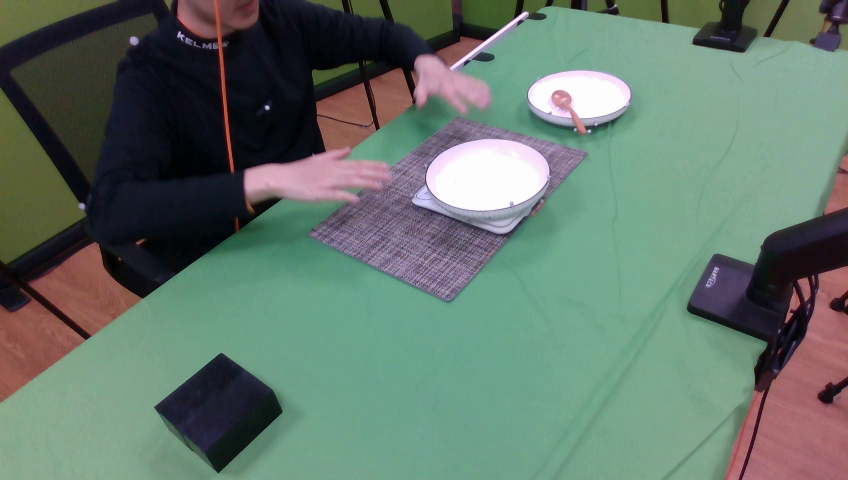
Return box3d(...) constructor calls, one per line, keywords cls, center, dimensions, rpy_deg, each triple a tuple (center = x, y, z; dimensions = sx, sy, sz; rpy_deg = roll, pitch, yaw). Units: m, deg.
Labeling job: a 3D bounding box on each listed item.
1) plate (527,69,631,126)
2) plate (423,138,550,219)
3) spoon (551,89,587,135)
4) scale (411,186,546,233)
box3d(cls="plate", center=(0.317, -0.289, 1.246), dimensions=(0.209, 0.038, 0.208), rpy_deg=(-4, 41, 4))
box3d(cls="plate", center=(0.104, -0.099, 1.005), dimensions=(0.207, 0.039, 0.206), rpy_deg=(-4, 41, 4))
box3d(cls="spoon", center=(0.286, -0.253, 1.184), dimensions=(0.041, 0.022, 0.192), rpy_deg=(-7, 33, 1))
box3d(cls="scale", center=(0.092, -0.083, 1.039), dimensions=(0.199, 0.032, 0.149), rpy_deg=(22, 48, 30))
